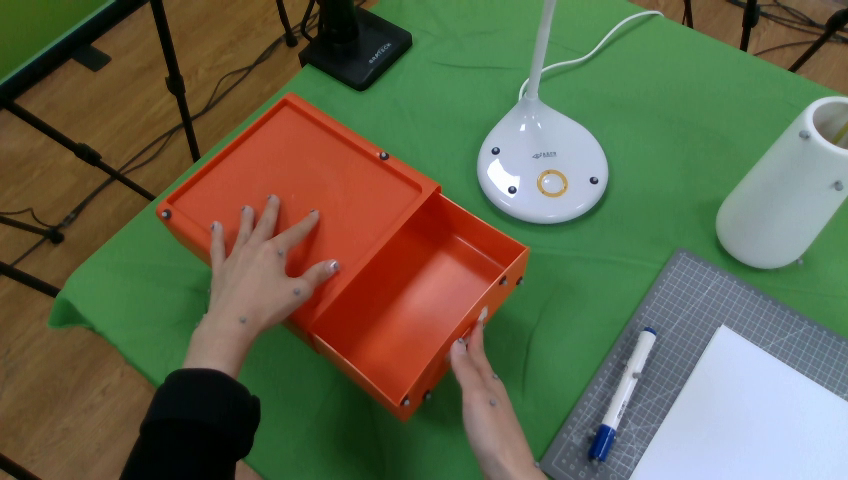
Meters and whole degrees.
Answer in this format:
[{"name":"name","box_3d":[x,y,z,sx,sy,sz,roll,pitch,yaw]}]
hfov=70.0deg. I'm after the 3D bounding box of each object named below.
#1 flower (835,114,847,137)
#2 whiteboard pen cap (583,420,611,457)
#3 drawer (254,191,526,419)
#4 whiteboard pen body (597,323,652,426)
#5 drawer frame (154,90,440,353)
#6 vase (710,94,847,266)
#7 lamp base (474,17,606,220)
[{"name":"flower","box_3d":[0.380,-0.105,0.547,0.038,0.364,0.044,21,46,6]},{"name":"whiteboard pen cap","box_3d":[0.168,0.191,0.585,0.018,0.018,0.033,26,67,16]},{"name":"drawer","box_3d":[-0.039,0.033,0.600,0.210,0.074,0.194,34,68,21]},{"name":"whiteboard pen body","box_3d":[0.197,0.145,0.607,0.017,0.017,0.140,26,67,16]},{"name":"drawer frame","box_3d":[-0.125,-0.026,0.633,0.212,0.083,0.201,34,68,18]},{"name":"vase","box_3d":[0.368,-0.055,0.614,0.098,0.202,0.097,-1,60,3]},{"name":"lamp base","box_3d":[0.134,-0.142,0.682,0.161,0.182,0.177,-17,59,-8]}]
